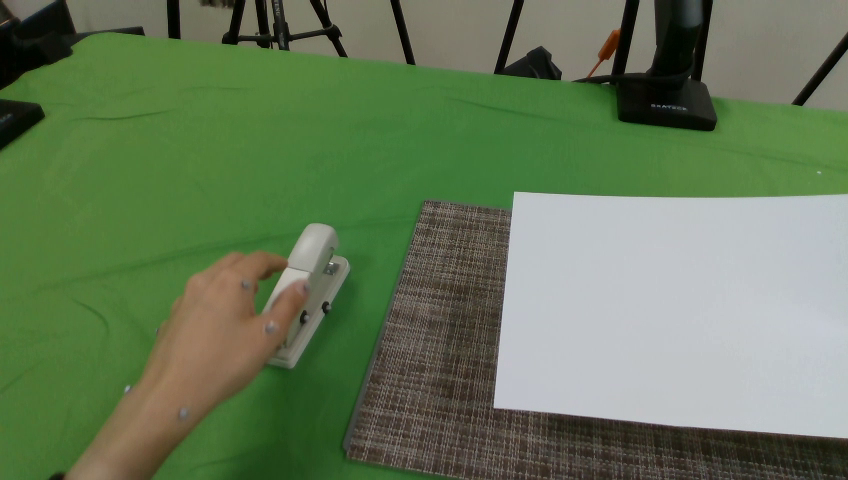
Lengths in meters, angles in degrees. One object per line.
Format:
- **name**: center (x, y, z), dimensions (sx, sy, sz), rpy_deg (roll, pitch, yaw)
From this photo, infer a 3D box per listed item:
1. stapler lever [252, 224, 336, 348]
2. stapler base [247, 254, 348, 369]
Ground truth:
- **stapler lever**: center (-0.106, 0.033, 0.503), dimensions (0.027, 0.040, 0.117), rpy_deg (10, 44, 13)
- **stapler base**: center (-0.106, 0.051, 0.522), dimensions (0.041, 0.024, 0.129), rpy_deg (10, 44, 13)
